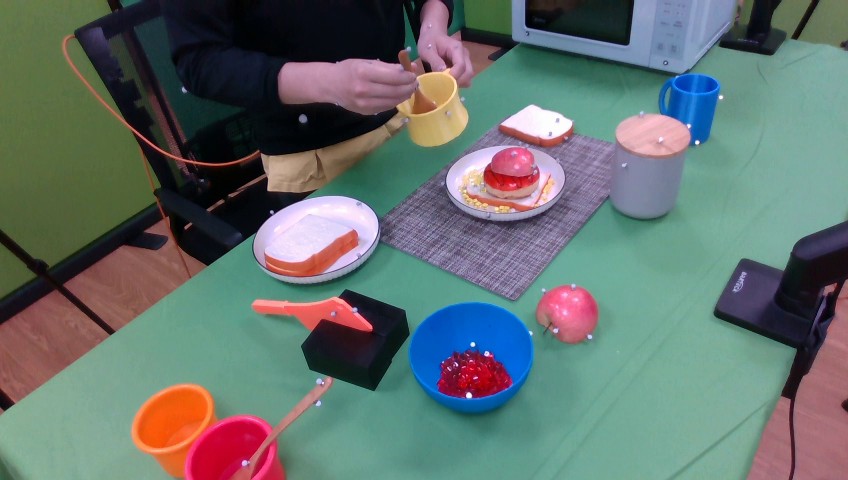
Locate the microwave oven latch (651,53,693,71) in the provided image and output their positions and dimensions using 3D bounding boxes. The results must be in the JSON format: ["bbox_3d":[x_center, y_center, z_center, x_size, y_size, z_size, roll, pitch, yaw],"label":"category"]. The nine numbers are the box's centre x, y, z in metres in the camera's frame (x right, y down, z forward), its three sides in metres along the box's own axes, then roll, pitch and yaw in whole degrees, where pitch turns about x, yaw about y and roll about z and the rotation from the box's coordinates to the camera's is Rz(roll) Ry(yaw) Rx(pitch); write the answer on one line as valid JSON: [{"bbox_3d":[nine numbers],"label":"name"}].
[{"bbox_3d":[0.532,-0.386,1.301,0.078,0.029,0.030,27,52,34],"label":"microwave oven latch"}]

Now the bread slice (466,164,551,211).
[{"bbox_3d":[0.141,-0.091,1.042,0.133,0.018,0.107,12,44,19],"label":"bread slice"}]

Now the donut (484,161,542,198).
[{"bbox_3d":[0.149,-0.109,1.016,0.099,0.048,0.098,-4,40,4],"label":"donut"}]

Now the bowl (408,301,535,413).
[{"bbox_3d":[0.059,0.156,0.739,0.151,0.077,0.150,-4,40,4],"label":"bowl"}]

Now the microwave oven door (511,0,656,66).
[{"bbox_3d":[0.350,-0.539,1.348,0.353,0.245,0.039,24,50,31],"label":"microwave oven door"}]

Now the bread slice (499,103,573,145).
[{"bbox_3d":[0.231,-0.231,1.205,0.105,0.019,0.130,-36,47,-28],"label":"bread slice"}]

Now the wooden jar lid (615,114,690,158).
[{"bbox_3d":[0.347,-0.155,0.923,0.108,0.021,0.108,-3,44,4],"label":"wooden jar lid"}]

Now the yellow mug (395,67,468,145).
[{"bbox_3d":[0.020,-0.218,0.944,0.099,0.064,0.131,17,61,32],"label":"yellow mug"}]

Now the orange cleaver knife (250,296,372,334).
[{"bbox_3d":[-0.159,0.103,0.828,0.210,0.078,0.012,-4,43,39],"label":"orange cleaver knife"}]

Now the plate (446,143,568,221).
[{"bbox_3d":[0.142,-0.096,1.045,0.207,0.039,0.206,-4,40,4],"label":"plate"}]

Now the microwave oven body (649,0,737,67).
[{"bbox_3d":[0.475,-0.602,1.411,0.438,0.261,0.327,23,50,32],"label":"microwave oven body"}]

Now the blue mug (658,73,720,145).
[{"bbox_3d":[0.483,-0.250,1.127,0.082,0.106,0.115,-26,44,-19],"label":"blue mug"}]

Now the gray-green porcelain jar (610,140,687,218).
[{"bbox_3d":[0.354,-0.106,0.964,0.106,0.127,0.105,-4,41,4],"label":"gray-green porcelain jar"}]

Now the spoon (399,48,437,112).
[{"bbox_3d":[-0.013,-0.223,0.869,0.041,0.194,0.021,-17,72,6],"label":"spoon"}]

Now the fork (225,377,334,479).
[{"bbox_3d":[-0.163,0.216,0.647,0.207,0.019,0.028,-49,42,16],"label":"fork"}]

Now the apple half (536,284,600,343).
[{"bbox_3d":[0.196,0.091,0.815,0.075,0.053,0.080,-22,42,-20],"label":"apple half"}]

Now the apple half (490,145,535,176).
[{"bbox_3d":[0.147,-0.139,0.994,0.081,0.033,0.081,2,39,-1],"label":"apple half"}]

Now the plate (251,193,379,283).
[{"bbox_3d":[-0.174,-0.001,0.984,0.209,0.038,0.208,-4,41,4],"label":"plate"}]
